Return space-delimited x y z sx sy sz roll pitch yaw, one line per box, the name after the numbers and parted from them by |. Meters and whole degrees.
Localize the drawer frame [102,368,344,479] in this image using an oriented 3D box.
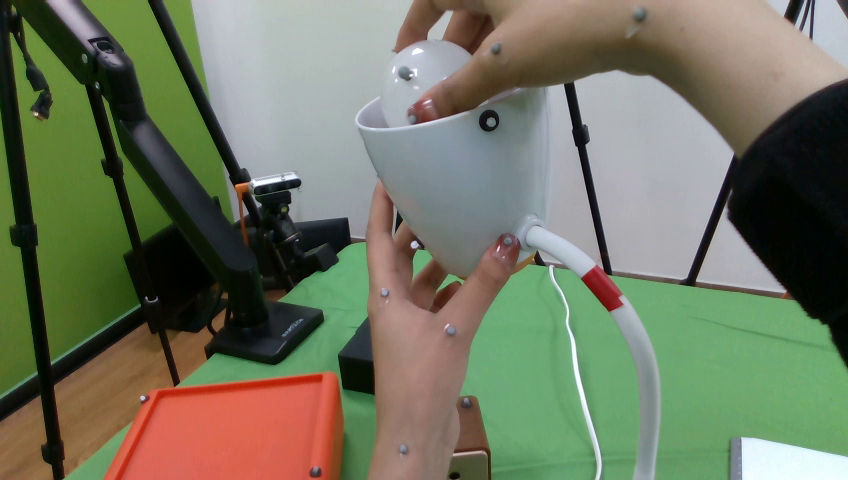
-0.181 0.221 0.555 0.202 0.083 0.211 -6 25 -3 | drawer frame

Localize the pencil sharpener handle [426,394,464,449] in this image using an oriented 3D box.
0.018 0.168 0.583 0.036 0.068 0.030 0 25 -5 | pencil sharpener handle

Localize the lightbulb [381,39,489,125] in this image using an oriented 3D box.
0.015 -0.061 0.349 0.059 0.108 0.059 -18 31 12 | lightbulb

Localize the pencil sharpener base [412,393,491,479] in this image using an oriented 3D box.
0.024 0.200 0.542 0.061 0.108 0.076 -5 25 -2 | pencil sharpener base

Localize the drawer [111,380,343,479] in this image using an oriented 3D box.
-0.179 0.223 0.553 0.194 0.074 0.210 -6 25 -2 | drawer

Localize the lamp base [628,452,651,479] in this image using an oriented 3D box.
0.139 0.235 0.365 0.161 0.181 0.177 -7 22 -6 | lamp base

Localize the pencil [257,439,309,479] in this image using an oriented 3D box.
-0.176 0.240 0.526 0.012 0.012 0.194 21 47 42 | pencil

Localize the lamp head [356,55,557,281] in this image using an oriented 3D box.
0.032 -0.037 0.361 0.112 0.124 0.111 -18 22 8 | lamp head
